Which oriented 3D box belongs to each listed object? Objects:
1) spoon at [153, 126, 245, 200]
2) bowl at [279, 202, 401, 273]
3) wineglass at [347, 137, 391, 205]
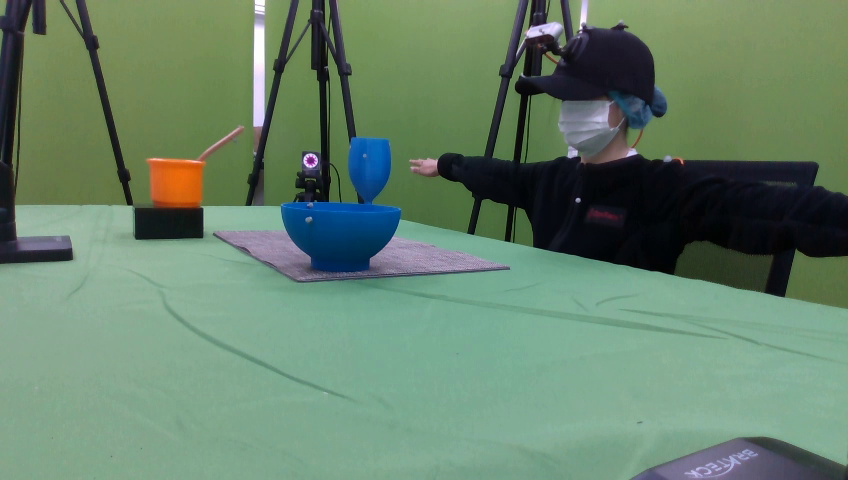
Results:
[{"bbox_3d":[-0.376,-0.131,1.017,0.041,0.194,0.022,13,-32,55],"label":"spoon"},{"bbox_3d":[-0.105,-0.003,0.756,0.151,0.077,0.151,3,7,0],"label":"bowl"},{"bbox_3d":[-0.093,-0.081,0.996,0.074,0.172,0.073,3,7,0],"label":"wineglass"}]
